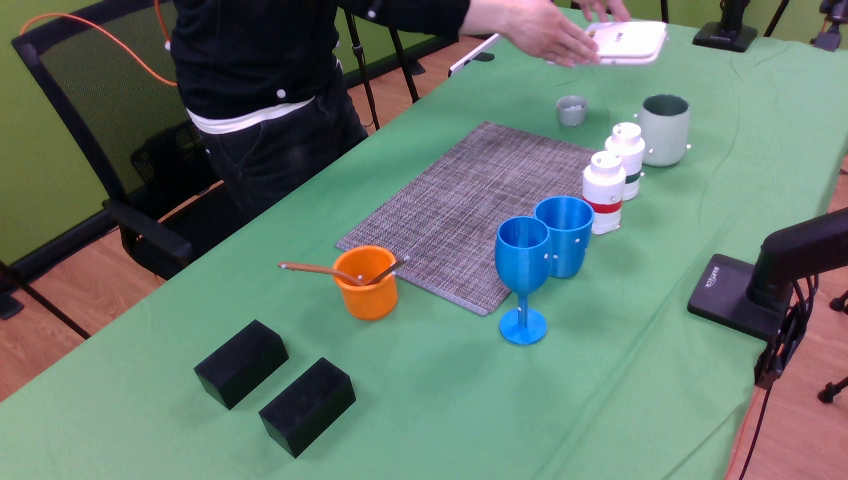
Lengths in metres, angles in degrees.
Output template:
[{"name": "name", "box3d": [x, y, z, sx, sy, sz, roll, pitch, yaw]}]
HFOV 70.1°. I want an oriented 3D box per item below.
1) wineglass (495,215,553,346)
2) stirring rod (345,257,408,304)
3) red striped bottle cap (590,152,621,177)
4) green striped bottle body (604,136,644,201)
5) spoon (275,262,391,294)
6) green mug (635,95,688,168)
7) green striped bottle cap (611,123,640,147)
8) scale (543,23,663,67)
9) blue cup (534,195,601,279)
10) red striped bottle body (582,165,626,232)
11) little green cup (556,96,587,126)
[{"name": "wineglass", "box3d": [0.127, 0.054, 0.770, 0.074, 0.173, 0.073, -4, 40, 4]}, {"name": "stirring rod", "box3d": [-0.067, 0.057, 0.815, 0.014, 0.175, 0.006, -25, 82, -38]}, {"name": "red striped bottle cap", "box3d": [0.273, -0.114, 0.907, 0.044, 0.018, 0.044, -5, 39, 5]}, {"name": "green striped bottle body", "box3d": [0.326, -0.128, 0.997, 0.063, 0.120, 0.063, -4, 41, 4]}, {"name": "spoon", "box3d": [-0.120, 0.050, 0.830, 0.041, 0.195, 0.021, 31, 97, 45]}, {"name": "green mug", "box3d": [0.421, -0.201, 1.081, 0.092, 0.105, 0.125, 5, 42, 15]}, {"name": "green striped bottle cap", "box3d": [0.322, -0.168, 0.963, 0.044, 0.020, 0.044, -3, 41, 4]}, {"name": "scale", "box3d": [0.338, -0.366, 1.141, 0.199, 0.032, 0.149, 9, 42, 26]}, {"name": "blue cup", "box3d": [0.201, 0.000, 0.879, 0.092, 0.100, 0.092, -3, 39, 3]}, {"name": "red striped bottle body", "box3d": [0.279, -0.075, 0.942, 0.063, 0.120, 0.062, -5, 41, 4]}, {"name": "little green cup", "box3d": [0.295, -0.258, 1.214, 0.061, 0.039, 0.061, -4, 41, 4]}]
